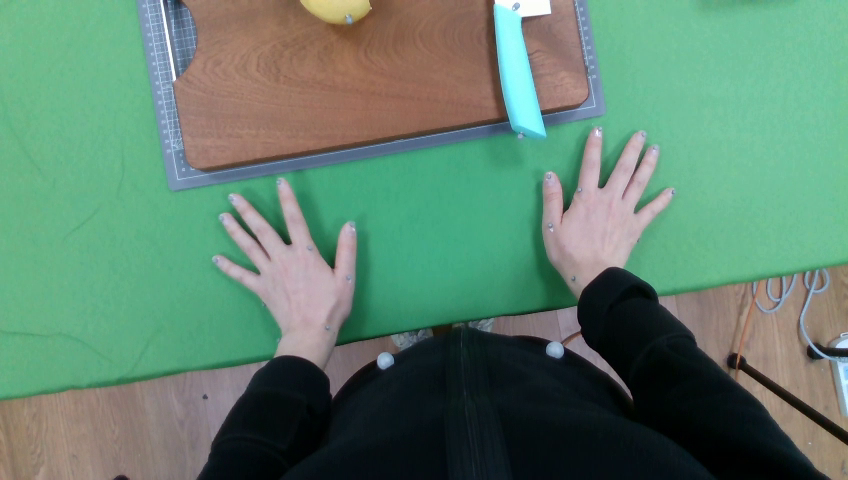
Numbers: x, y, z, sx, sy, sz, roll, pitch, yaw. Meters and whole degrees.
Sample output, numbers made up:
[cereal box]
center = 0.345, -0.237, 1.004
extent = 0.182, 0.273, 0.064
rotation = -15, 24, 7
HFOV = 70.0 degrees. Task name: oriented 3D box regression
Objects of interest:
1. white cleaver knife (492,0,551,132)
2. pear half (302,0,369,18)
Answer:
[white cleaver knife]
center = 0.091, -0.246, 0.583
extent = 0.066, 0.021, 0.286
rotation = -10, 91, -11
[pear half]
center = -0.089, -0.236, 0.536
extent = 0.056, 0.110, 0.076
rotation = -40, 86, -1
